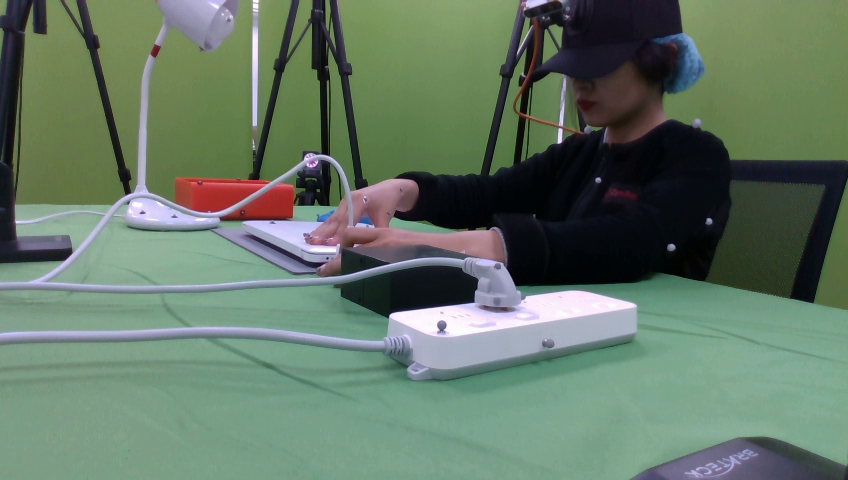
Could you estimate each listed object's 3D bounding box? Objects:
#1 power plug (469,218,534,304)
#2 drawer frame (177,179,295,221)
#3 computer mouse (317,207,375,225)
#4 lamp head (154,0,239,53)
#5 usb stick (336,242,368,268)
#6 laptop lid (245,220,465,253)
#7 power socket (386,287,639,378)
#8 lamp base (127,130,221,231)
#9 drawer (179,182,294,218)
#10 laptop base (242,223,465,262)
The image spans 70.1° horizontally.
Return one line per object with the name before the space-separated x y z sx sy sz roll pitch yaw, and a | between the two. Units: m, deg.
power plug | 0.054 0.013 0.454 0.035 0.072 0.052 -23 -3 -41
drawer frame | -0.422 -0.092 1.352 0.215 0.082 0.200 -3 10 -32
computer mouse | -0.163 -0.048 1.264 0.118 0.041 0.062 -6 12 -29
lamp head | -0.406 -0.402 1.059 0.123 0.112 0.112 25 5 -6
usb stick | -0.092 0.018 0.741 0.021 0.027 0.059 -8 9 -34
laptop lid | -0.124 -0.009 0.945 0.243 0.013 0.355 1 7 -29
power socket | 0.074 0.064 0.461 0.228 0.032 0.072 -4 8 -34
lamp base | -0.469 -0.112 1.108 0.179 0.180 0.160 0 7 3
drawer | -0.420 -0.091 1.354 0.213 0.073 0.193 -3 10 -31
laptop base | -0.126 0.003 0.945 0.237 0.023 0.352 2 6 -31
